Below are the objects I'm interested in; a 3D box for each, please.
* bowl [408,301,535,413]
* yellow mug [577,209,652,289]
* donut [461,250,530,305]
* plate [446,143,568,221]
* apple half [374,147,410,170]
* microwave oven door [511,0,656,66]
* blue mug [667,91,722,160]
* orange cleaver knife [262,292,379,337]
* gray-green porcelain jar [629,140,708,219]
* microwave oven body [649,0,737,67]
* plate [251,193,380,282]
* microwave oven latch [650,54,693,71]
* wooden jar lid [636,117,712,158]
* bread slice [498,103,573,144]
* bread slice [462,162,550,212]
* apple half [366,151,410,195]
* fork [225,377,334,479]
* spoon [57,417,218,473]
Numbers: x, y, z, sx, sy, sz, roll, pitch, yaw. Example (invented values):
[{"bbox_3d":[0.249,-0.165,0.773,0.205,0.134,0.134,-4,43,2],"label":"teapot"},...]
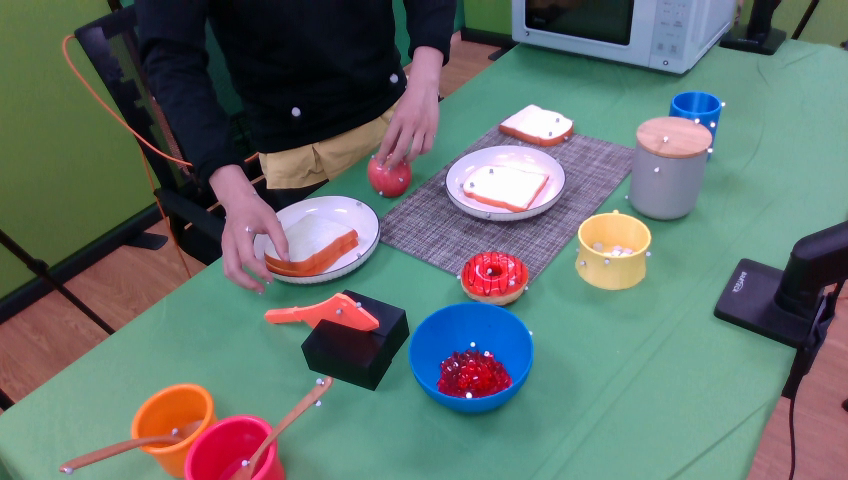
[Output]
[{"bbox_3d":[0.060,0.156,0.739,0.151,0.077,0.150,-4,40,4],"label":"bowl"},{"bbox_3d":[0.279,0.004,0.893,0.099,0.064,0.130,5,42,15],"label":"yellow mug"},{"bbox_3d":[0.103,0.053,0.872,0.099,0.048,0.098,-4,40,4],"label":"donut"},{"bbox_3d":[0.142,-0.096,1.045,0.207,0.039,0.206,-4,40,4],"label":"plate"},{"bbox_3d":[-0.053,-0.139,1.099,0.081,0.081,0.033,15,48,24],"label":"apple half"},{"bbox_3d":[0.351,-0.540,1.349,0.353,0.245,0.039,24,50,31],"label":"microwave oven door"},{"bbox_3d":[0.474,-0.207,1.079,0.082,0.106,0.116,4,42,13],"label":"blue mug"},{"bbox_3d":[-0.145,0.107,0.821,0.210,0.077,0.012,-13,36,43],"label":"orange cleaver knife"},{"bbox_3d":[0.383,-0.105,0.958,0.106,0.127,0.105,-4,41,4],"label":"gray-green porcelain jar"},{"bbox_3d":[0.475,-0.602,1.411,0.438,0.261,0.327,23,50,32],"label":"microwave oven body"},{"bbox_3d":[-0.173,-0.001,0.984,0.209,0.038,0.208,-3,41,3],"label":"plate"},{"bbox_3d":[0.531,-0.386,1.301,0.078,0.029,0.030,26,51,33],"label":"microwave oven latch"},{"bbox_3d":[0.377,-0.151,0.917,0.108,0.021,0.108,-2,41,3],"label":"wooden jar lid"},{"bbox_3d":[0.231,-0.232,1.205,0.105,0.019,0.130,-36,47,-29],"label":"bread slice"},{"bbox_3d":[0.135,-0.093,1.045,0.133,0.018,0.107,16,45,23],"label":"bread slice"},{"bbox_3d":[-0.070,-0.114,1.075,0.080,0.075,0.053,17,51,23],"label":"apple half"},{"bbox_3d":[-0.163,0.216,0.646,0.207,0.019,0.028,-49,42,16],"label":"fork"},{"bbox_3d":[-0.304,0.221,0.661,0.041,0.195,0.021,19,92,27],"label":"spoon"}]
